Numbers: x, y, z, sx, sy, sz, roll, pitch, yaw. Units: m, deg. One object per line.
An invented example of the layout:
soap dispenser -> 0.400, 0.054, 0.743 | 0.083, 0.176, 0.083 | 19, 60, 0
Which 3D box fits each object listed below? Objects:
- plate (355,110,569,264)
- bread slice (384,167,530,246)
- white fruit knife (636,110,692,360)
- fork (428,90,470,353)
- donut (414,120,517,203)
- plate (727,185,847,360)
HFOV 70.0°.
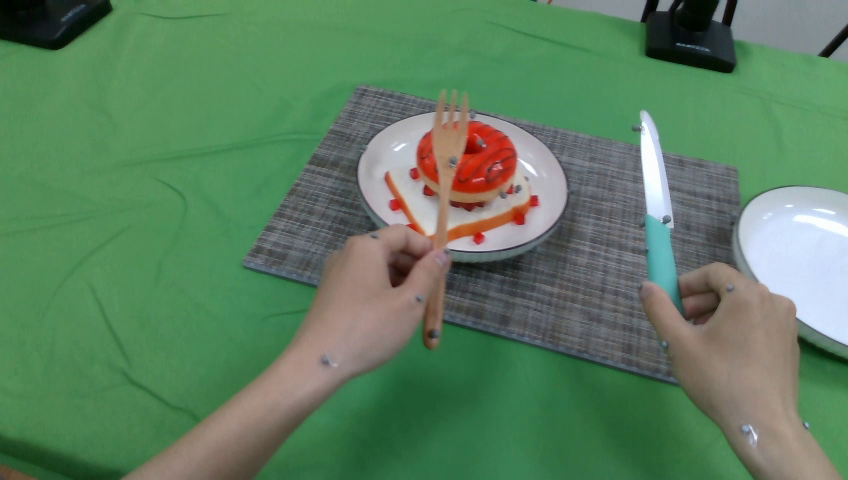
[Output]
plate -> 0.035, -0.053, 0.602 | 0.209, 0.038, 0.207 | 3, 48, -3
bread slice -> 0.037, -0.048, 0.601 | 0.132, 0.019, 0.103 | -18, 53, -18
white fruit knife -> 0.180, -0.011, 0.470 | 0.027, 0.016, 0.206 | 5, 69, -12
fork -> 0.016, -0.020, 0.451 | 0.028, 0.019, 0.206 | -5, 67, 25
donut -> 0.039, -0.076, 0.575 | 0.099, 0.048, 0.098 | 3, 48, -3
plate -> 0.385, 0.032, 0.563 | 0.208, 0.039, 0.205 | 3, 48, -3
